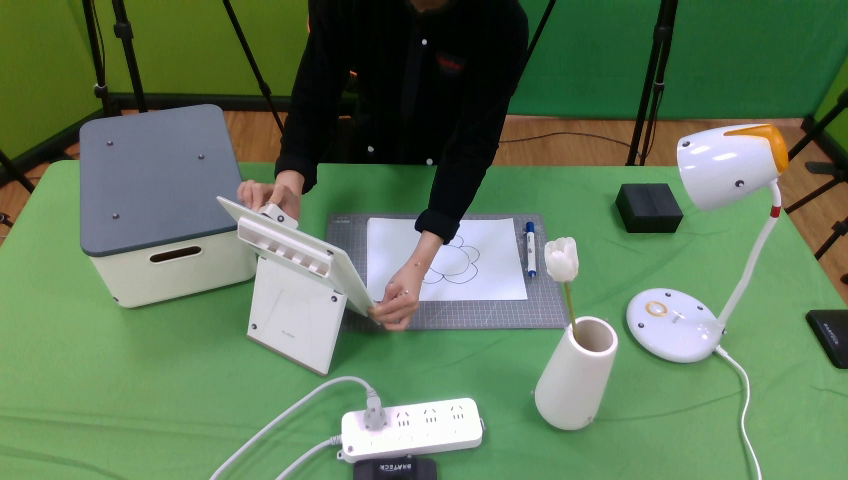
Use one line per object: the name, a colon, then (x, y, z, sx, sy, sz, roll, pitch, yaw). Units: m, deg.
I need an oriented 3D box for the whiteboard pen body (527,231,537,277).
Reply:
whiteboard pen body: (0.211, 0.018, 1.191, 0.017, 0.017, 0.140, 6, 44, 1)

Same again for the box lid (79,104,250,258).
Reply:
box lid: (-0.467, -0.120, 1.075, 0.264, 0.015, 0.369, -13, 49, -17)

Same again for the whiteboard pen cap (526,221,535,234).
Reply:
whiteboard pen cap: (0.216, -0.022, 1.233, 0.018, 0.018, 0.033, 6, 45, 2)

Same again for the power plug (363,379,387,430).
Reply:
power plug: (-0.071, 0.252, 0.911, 0.035, 0.053, 0.072, 3, 40, 0)

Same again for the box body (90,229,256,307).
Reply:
box body: (-0.471, -0.070, 1.131, 0.254, 0.161, 0.361, -14, 49, -17)

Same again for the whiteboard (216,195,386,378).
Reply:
whiteboard: (-0.212, 0.094, 0.937, 0.216, 0.307, 0.143, 24, 70, 17)

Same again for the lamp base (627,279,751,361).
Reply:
lamp base: (0.460, 0.100, 1.027, 0.178, 0.181, 0.160, 27, 51, 17)

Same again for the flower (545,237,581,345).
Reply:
flower: (0.213, 0.137, 0.846, 0.038, 0.364, 0.044, 22, 55, 40)

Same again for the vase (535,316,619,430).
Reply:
vase: (0.229, 0.200, 0.901, 0.098, 0.201, 0.097, 3, 46, -3)

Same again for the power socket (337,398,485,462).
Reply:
power socket: (-0.018, 0.285, 0.914, 0.227, 0.033, 0.071, -4, 46, -8)

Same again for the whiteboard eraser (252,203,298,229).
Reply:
whiteboard eraser: (-0.243, -0.024, 0.945, 0.056, 0.112, 0.041, 39, 69, -25)

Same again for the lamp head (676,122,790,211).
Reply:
lamp head: (0.423, -0.104, 0.819, 0.122, 0.113, 0.112, -13, 33, 40)
